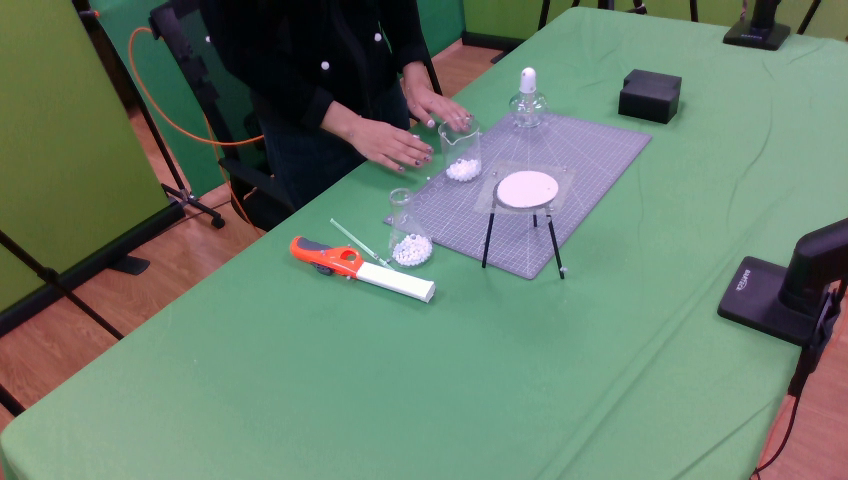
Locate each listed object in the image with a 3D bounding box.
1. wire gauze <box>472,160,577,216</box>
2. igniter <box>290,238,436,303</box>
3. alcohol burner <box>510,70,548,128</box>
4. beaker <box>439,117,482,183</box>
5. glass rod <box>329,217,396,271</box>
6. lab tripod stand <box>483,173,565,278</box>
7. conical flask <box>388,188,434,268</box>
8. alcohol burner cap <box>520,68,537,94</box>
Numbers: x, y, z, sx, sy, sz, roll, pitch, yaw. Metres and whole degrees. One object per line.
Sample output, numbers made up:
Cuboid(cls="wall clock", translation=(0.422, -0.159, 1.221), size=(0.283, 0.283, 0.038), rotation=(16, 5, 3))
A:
Cuboid(cls="wire gauze", translation=(0.143, -0.073, 0.850), size=(0.121, 0.011, 0.125), rotation=(8, 43, 22))
Cuboid(cls="igniter", translation=(-0.106, 0.044, 0.949), size=(0.274, 0.025, 0.057), rotation=(16, 57, 27))
Cuboid(cls="alcohol burner", translation=(0.209, -0.287, 1.208), size=(0.078, 0.119, 0.077), rotation=(-5, 42, 5))
Cuboid(cls="beaker", translation=(0.068, -0.160, 1.097), size=(0.073, 0.101, 0.084), rotation=(7, 43, 19))
Cuboid(cls="glass rod", translation=(-0.105, 0.006, 1.009), size=(0.008, 0.008, 0.198), rotation=(-32, 45, -24))
Cuboid(cls="lab tripod stand", translation=(0.151, -0.025, 0.896), size=(0.148, 0.132, 0.147), rotation=(-7, 40, 6))
Cuboid(cls="conical flask", translation=(-0.028, -0.022, 0.937), size=(0.075, 0.122, 0.075), rotation=(-6, 40, 5))
Cuboid(cls="alcohol burner cap", translation=(0.205, -0.313, 1.183), size=(0.034, 0.048, 0.033), rotation=(-3, 50, 4))
